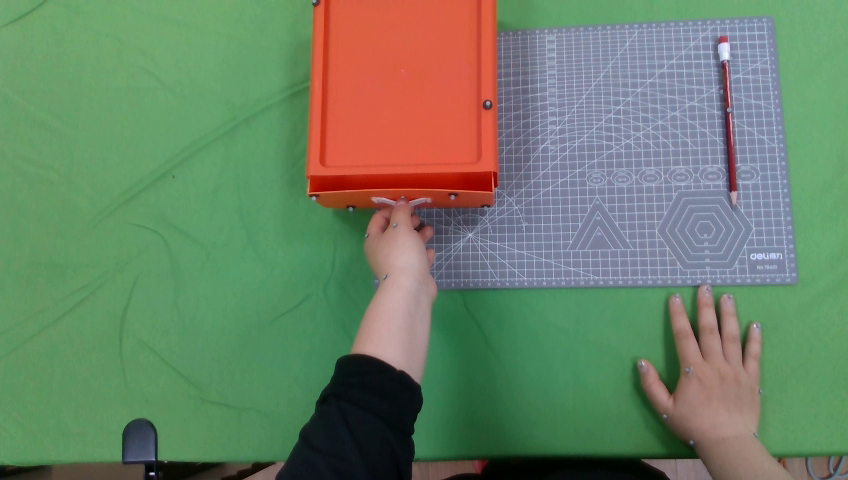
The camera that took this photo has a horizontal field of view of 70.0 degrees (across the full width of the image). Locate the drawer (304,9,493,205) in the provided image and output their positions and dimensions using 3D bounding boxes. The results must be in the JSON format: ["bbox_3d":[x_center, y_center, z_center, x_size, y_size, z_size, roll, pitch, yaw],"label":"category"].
[{"bbox_3d":[-0.023,-0.144,0.660,0.194,0.073,0.211,-1,81,7],"label":"drawer"}]

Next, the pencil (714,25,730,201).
[{"bbox_3d":[0.325,-0.138,0.658,0.012,0.012,0.193,0,85,6],"label":"pencil"}]

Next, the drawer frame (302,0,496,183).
[{"bbox_3d":[-0.025,-0.166,0.662,0.201,0.083,0.213,-2,81,7],"label":"drawer frame"}]
